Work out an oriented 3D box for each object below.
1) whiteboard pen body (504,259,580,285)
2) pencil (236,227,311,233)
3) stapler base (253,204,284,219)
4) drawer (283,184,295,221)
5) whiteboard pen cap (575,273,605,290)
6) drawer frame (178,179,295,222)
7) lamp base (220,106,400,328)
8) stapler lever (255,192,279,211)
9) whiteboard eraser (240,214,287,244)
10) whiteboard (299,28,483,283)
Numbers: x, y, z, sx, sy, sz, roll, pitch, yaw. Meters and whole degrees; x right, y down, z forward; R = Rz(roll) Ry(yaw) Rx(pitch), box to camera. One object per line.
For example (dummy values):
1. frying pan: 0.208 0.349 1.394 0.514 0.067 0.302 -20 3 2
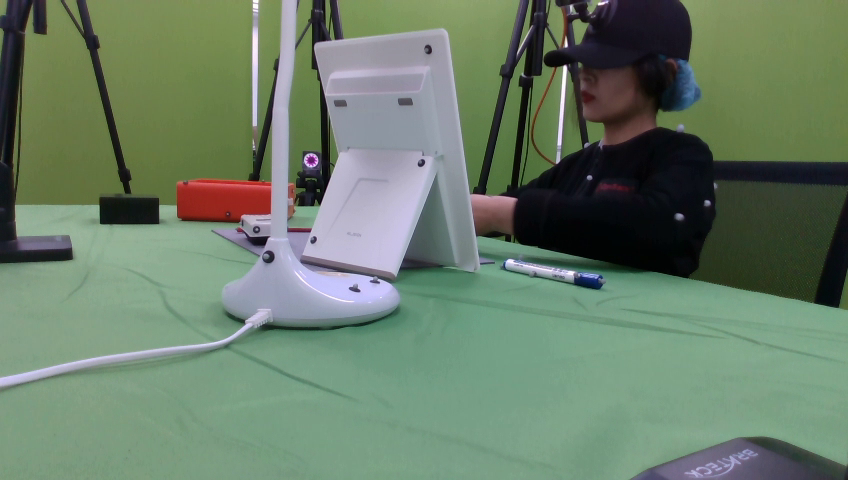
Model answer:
1. whiteboard pen body: 0.157 0.042 0.764 0.017 0.017 0.140 -4 11 -41
2. pencil: -0.239 -0.017 1.093 0.195 0.012 0.012 1 7 -27
3. stapler base: -0.337 -0.065 1.308 0.041 0.024 0.130 1 9 -1
4. drawer: -0.394 -0.086 1.317 0.212 0.073 0.194 1 8 -7
5. whiteboard pen cap: 0.197 0.048 0.719 0.018 0.018 0.033 -4 11 -41
6. drawer frame: -0.397 -0.088 1.315 0.214 0.082 0.201 1 8 -7
7. lamp base: -0.101 -0.023 0.531 0.160 0.180 0.179 4 10 10
8. stapler lever: -0.338 -0.088 1.305 0.027 0.040 0.118 1 11 -1
9. whiteboard eraser: -0.256 -0.018 0.958 0.056 0.042 0.112 0 8 -25
10. whiteboard: -0.075 -0.082 0.741 0.216 0.305 0.144 9 30 38
